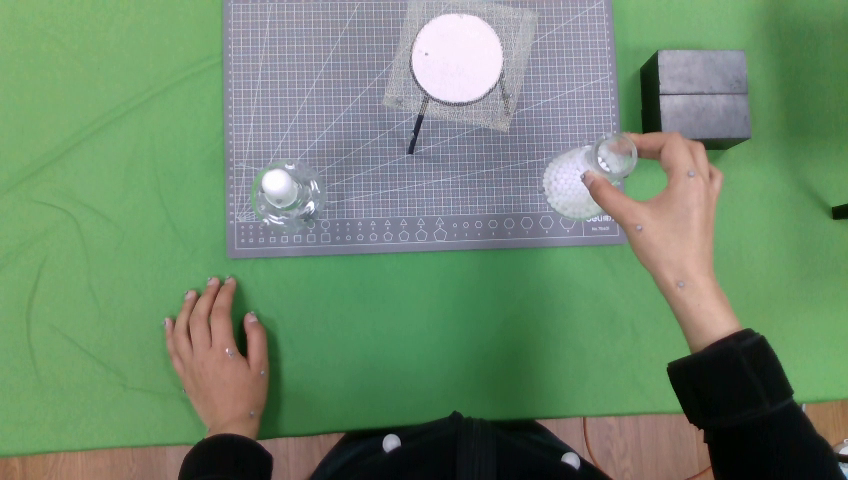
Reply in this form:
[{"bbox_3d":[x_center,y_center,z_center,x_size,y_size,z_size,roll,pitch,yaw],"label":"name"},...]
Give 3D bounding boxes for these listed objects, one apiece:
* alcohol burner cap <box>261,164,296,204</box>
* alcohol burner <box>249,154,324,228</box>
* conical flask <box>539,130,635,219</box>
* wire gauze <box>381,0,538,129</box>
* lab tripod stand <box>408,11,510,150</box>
[{"bbox_3d":[-0.143,-0.056,0.584,0.034,0.048,0.033,1,80,-6],"label":"alcohol burner cap"},{"bbox_3d":[-0.144,-0.053,0.620,0.078,0.119,0.078,0,86,-2],"label":"alcohol burner"},{"bbox_3d":[0.154,-0.065,0.555,0.075,0.122,0.075,0,83,-2],"label":"conical flask"},{"bbox_3d":[0.034,-0.173,0.562,0.121,0.011,0.125,15,84,-1],"label":"wire gauze"},{"bbox_3d":[0.025,-0.168,0.629,0.148,0.131,0.148,0,85,-1],"label":"lab tripod stand"}]
